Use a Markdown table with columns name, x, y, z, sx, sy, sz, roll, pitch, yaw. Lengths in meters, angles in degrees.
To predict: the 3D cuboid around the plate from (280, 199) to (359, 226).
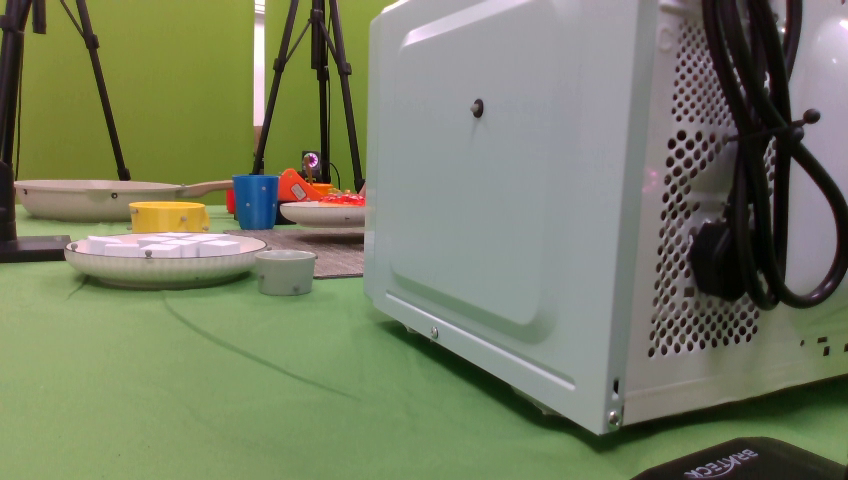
| name | x | y | z | sx | sy | sz | roll | pitch | yaw |
| --- | --- | --- | --- | --- | --- | --- | --- | --- | --- |
| plate | -0.136 | -0.049 | 1.025 | 0.209 | 0.038 | 0.209 | -1 | 7 | 0 |

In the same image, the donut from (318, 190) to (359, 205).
| name | x | y | z | sx | sy | sz | roll | pitch | yaw |
| --- | --- | --- | --- | --- | --- | --- | --- | --- | --- |
| donut | -0.130 | -0.061 | 1.030 | 0.099 | 0.048 | 0.099 | 1 | 6 | 0 |

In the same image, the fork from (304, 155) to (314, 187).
| name | x | y | z | sx | sy | sz | roll | pitch | yaw |
| --- | --- | --- | --- | --- | --- | --- | --- | --- | --- |
| fork | -0.268 | -0.134 | 1.446 | 0.028 | 0.018 | 0.207 | 2 | -36 | -1 |

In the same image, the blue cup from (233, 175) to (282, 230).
| name | x | y | z | sx | sy | sz | roll | pitch | yaw |
| --- | --- | --- | --- | --- | --- | --- | --- | --- | --- |
| blue cup | -0.314 | -0.071 | 1.141 | 0.093 | 0.100 | 0.092 | 0 | 7 | 0 |

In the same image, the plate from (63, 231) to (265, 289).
| name | x | y | z | sx | sy | sz | roll | pitch | yaw |
| --- | --- | --- | --- | --- | --- | --- | --- | --- | --- |
| plate | -0.288 | 0.021 | 0.687 | 0.208 | 0.039 | 0.207 | 2 | 8 | 0 |

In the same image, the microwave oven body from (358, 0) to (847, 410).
| name | x | y | z | sx | sy | sz | roll | pitch | yaw |
| --- | --- | --- | --- | --- | --- | --- | --- | --- | --- |
| microwave oven body | 0.210 | -0.051 | 0.472 | 0.444 | 0.260 | 0.324 | -1 | 7 | -28 |

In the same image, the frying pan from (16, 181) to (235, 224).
| name | x | y | z | sx | sy | sz | roll | pitch | yaw |
| --- | --- | --- | --- | --- | --- | --- | --- | --- | --- |
| frying pan | -0.554 | -0.097 | 1.266 | 0.490 | 0.102 | 0.305 | -10 | 13 | -24 |

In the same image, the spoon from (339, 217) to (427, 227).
| name | x | y | z | sx | sy | sz | roll | pitch | yaw |
| --- | --- | --- | --- | --- | --- | --- | --- | --- | --- |
| spoon | -0.087 | -0.041 | 1.268 | 0.193 | 0.021 | 0.041 | 3 | 18 | 14 |

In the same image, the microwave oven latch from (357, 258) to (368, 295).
| name | x | y | z | sx | sy | sz | roll | pitch | yaw |
| --- | --- | --- | --- | --- | --- | --- | --- | --- | --- |
| microwave oven latch | -0.019 | 0.031 | 0.529 | 0.079 | 0.029 | 0.030 | -1 | 7 | -27 |

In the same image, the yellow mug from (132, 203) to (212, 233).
| name | x | y | z | sx | sy | sz | roll | pitch | yaw |
| --- | --- | --- | --- | --- | --- | --- | --- | --- | --- |
| yellow mug | -0.356 | -0.020 | 0.878 | 0.099 | 0.064 | 0.131 | 4 | 7 | 22 |

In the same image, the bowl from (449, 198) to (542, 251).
| name | x | y | z | sx | sy | sz | roll | pitch | yaw |
| --- | --- | --- | --- | --- | --- | --- | --- | --- | --- |
| bowl | 0.114 | -0.025 | 0.987 | 0.151 | 0.077 | 0.151 | 2 | 7 | 0 |

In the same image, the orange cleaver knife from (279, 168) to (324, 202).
| name | x | y | z | sx | sy | sz | roll | pitch | yaw |
| --- | --- | --- | --- | --- | --- | --- | --- | --- | --- |
| orange cleaver knife | -0.236 | -0.084 | 1.333 | 0.212 | 0.077 | 0.012 | 31 | -9 | -31 |

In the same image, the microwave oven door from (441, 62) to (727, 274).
| name | x | y | z | sx | sy | sz | roll | pitch | yaw |
| --- | --- | --- | --- | --- | --- | --- | --- | --- | --- |
| microwave oven door | 0.187 | -0.097 | 0.784 | 0.354 | 0.243 | 0.039 | 6 | 8 | 30 |

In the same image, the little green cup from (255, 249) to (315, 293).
| name | x | y | z | sx | sy | sz | roll | pitch | yaw |
| --- | --- | --- | --- | --- | --- | --- | --- | --- | --- |
| little green cup | -0.144 | 0.032 | 0.627 | 0.061 | 0.038 | 0.061 | 3 | 6 | 0 |
